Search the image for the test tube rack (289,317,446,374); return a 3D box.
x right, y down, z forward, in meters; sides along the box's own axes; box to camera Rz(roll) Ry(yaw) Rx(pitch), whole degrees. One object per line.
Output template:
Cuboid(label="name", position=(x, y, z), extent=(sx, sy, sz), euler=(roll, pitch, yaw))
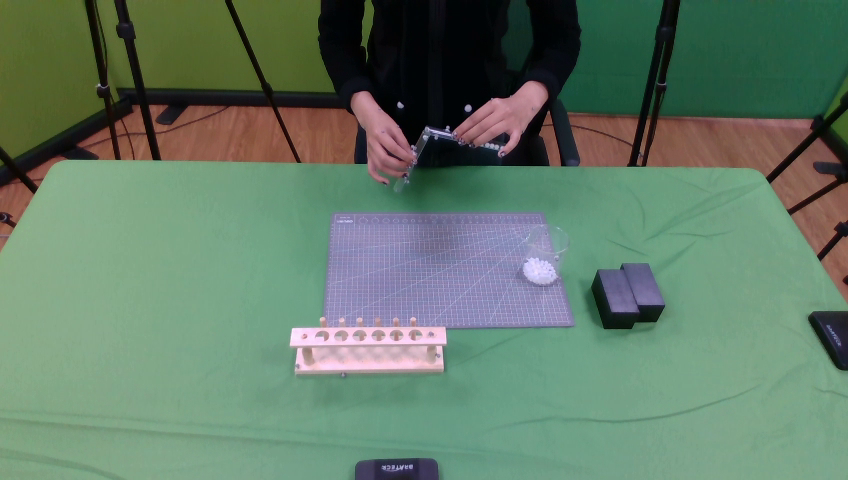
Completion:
Cuboid(label="test tube rack", position=(-0.089, 0.167, 0.988), extent=(0.242, 0.085, 0.066), euler=(0, 46, -4))

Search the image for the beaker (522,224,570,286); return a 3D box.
Cuboid(label="beaker", position=(0.221, 0.032, 1.129), extent=(0.084, 0.101, 0.073), euler=(-6, 46, -9))

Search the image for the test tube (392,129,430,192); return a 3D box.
Cuboid(label="test tube", position=(-0.026, -0.142, 1.111), extent=(0.017, 0.151, 0.017), euler=(17, 43, -17))

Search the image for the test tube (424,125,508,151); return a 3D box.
Cuboid(label="test tube", position=(0.071, -0.176, 1.045), extent=(0.150, 0.017, 0.017), euler=(15, 47, 13))
